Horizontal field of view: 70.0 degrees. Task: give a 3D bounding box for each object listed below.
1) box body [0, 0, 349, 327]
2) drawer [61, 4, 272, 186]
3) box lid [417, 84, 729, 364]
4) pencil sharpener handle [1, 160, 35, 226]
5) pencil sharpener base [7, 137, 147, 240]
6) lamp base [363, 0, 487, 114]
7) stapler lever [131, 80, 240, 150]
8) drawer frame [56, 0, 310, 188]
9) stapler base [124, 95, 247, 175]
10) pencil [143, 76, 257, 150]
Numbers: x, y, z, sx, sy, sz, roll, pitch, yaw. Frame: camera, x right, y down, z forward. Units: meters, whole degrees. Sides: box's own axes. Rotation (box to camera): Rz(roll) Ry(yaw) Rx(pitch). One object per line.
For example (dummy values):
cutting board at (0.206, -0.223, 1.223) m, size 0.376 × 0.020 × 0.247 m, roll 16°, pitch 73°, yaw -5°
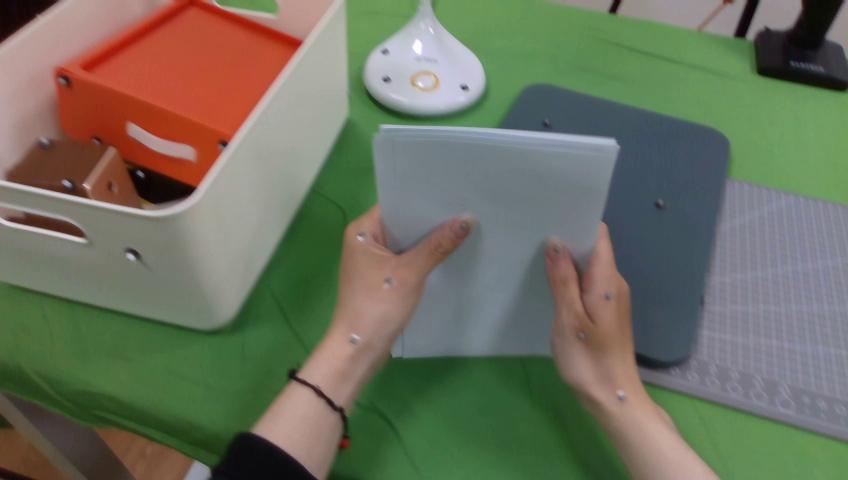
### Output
box body at (-0.241, -0.112, 0.592) m, size 0.254 × 0.162 × 0.361 m, roll 12°, pitch 48°, yaw 7°
drawer at (-0.211, -0.147, 0.622) m, size 0.195 × 0.073 × 0.210 m, roll 21°, pitch 40°, yaw -2°
box lid at (0.177, -0.047, 0.657) m, size 0.262 × 0.015 × 0.369 m, roll 20°, pitch 49°, yaw 16°
pencil sharpener handle at (-0.356, -0.041, 0.530) m, size 0.030 × 0.068 × 0.036 m, roll 6°, pitch 15°, yaw 3°
pencil sharpener base at (-0.305, -0.032, 0.544) m, size 0.076 × 0.108 × 0.061 m, roll 6°, pitch 48°, yaw 3°
lamp base at (0.003, -0.276, 0.742) m, size 0.161 × 0.182 × 0.177 m, roll -3°, pitch 45°, yaw -6°
stapler lever at (-0.229, -0.127, 0.585) m, size 0.117 × 0.040 × 0.027 m, roll 32°, pitch 39°, yaw 10°
drawer frame at (-0.212, -0.150, 0.623) m, size 0.202 × 0.083 × 0.212 m, roll 20°, pitch 40°, yaw -2°
stapler base at (-0.235, -0.110, 0.600) m, size 0.130 × 0.024 × 0.041 m, roll 31°, pitch 39°, yaw 11°
pencil at (-0.233, -0.131, 0.624) m, size 0.192 × 0.012 × 0.012 m, roll 32°, pitch 54°, yaw 27°
